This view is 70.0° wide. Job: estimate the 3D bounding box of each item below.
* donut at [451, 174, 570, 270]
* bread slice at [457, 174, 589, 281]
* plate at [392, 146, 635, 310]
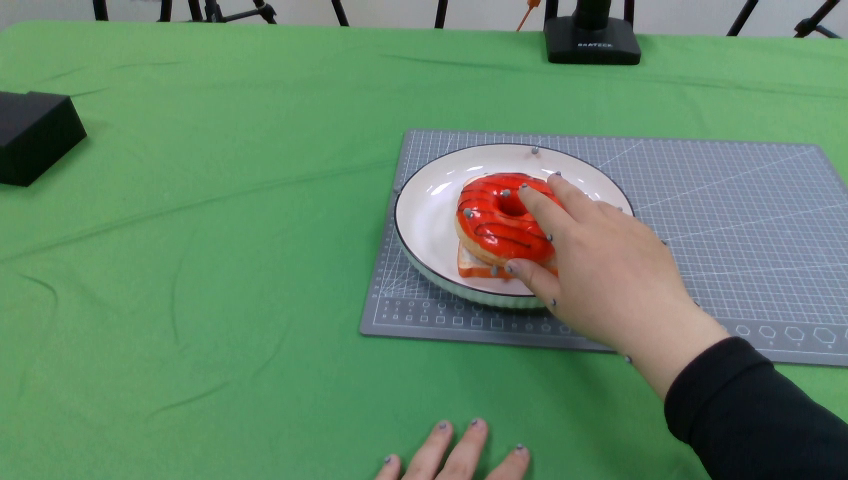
[{"bbox_3d":[0.071,-0.015,0.500,0.099,0.048,0.098,1,46,-1],"label":"donut"},{"bbox_3d":[0.079,-0.014,0.542,0.107,0.018,0.133,-1,42,-2],"label":"bread slice"},{"bbox_3d":[0.076,-0.012,0.537,0.209,0.038,0.207,0,42,0],"label":"plate"}]
